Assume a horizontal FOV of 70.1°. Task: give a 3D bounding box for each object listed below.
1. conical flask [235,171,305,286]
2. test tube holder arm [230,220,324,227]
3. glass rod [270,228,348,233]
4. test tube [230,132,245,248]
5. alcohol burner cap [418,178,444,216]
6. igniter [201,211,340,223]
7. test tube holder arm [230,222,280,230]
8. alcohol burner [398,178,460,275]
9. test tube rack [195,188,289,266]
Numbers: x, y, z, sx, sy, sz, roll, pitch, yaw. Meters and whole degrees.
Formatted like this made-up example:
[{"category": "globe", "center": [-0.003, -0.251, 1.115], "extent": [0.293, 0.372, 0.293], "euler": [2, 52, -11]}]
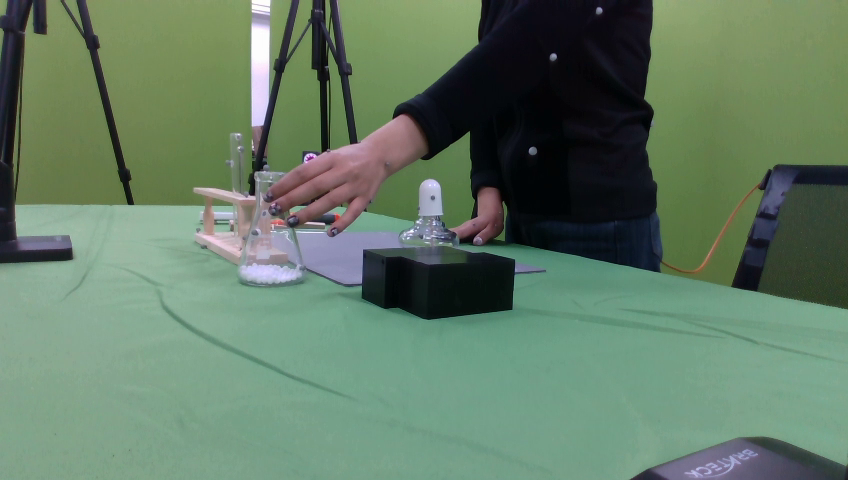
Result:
[{"category": "conical flask", "center": [-0.168, -0.014, 0.663], "extent": [0.075, 0.122, 0.075], "euler": [2, 7, 0]}, {"category": "test tube holder arm", "center": [-0.275, -0.030, 1.145], "extent": [0.179, 0.015, 0.013], "euler": [-3, 46, -31]}, {"category": "glass rod", "center": [-0.234, -0.017, 1.104], "extent": [0.201, 0.008, 0.008], "euler": [1, 7, -26]}, {"category": "test tube", "center": [-0.242, -0.064, 0.789], "extent": [0.017, 0.150, 0.017], "euler": [0, 7, 0]}, {"category": "alcohol burner cap", "center": [0.007, -0.053, 0.746], "extent": [0.034, 0.048, 0.034], "euler": [-3, 6, 1]}, {"category": "igniter", "center": [-0.311, -0.047, 1.243], "extent": [0.278, 0.025, 0.057], "euler": [-1, -2, -24]}, {"category": "test tube holder arm", "center": [-0.312, -0.025, 1.118], "extent": [0.088, 0.015, 0.010], "euler": [-1, 45, -30]}, {"category": "alcohol burner", "center": [0.007, -0.017, 0.751], "extent": [0.078, 0.119, 0.078], "euler": [3, 10, 0]}, {"category": "test tube rack", "center": [-0.266, -0.025, 0.864], "extent": [0.067, 0.085, 0.241], "euler": [-2, 9, -33]}]
